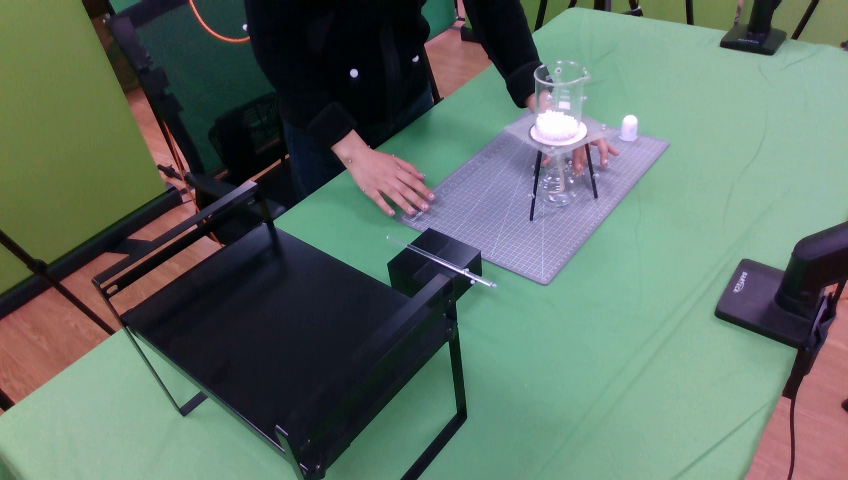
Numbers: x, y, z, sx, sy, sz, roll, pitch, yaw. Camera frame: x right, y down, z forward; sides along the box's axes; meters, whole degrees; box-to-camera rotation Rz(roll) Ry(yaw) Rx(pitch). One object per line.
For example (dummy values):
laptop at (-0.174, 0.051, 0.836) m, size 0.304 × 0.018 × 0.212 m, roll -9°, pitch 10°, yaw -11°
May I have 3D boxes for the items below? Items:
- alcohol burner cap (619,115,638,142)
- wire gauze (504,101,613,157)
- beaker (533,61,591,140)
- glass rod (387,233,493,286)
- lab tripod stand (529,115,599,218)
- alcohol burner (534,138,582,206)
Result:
alcohol burner cap at (0.389, -0.214, 1.145) m, size 0.034 × 0.048 × 0.033 m, roll -3°, pitch 40°, yaw 3°
wire gauze at (0.211, -0.175, 0.956) m, size 0.125 × 0.011 × 0.120 m, roll -26°, pitch 43°, yaw -17°
beaker at (0.208, -0.210, 0.922) m, size 0.083 × 0.101 × 0.074 m, roll 5°, pitch 44°, yaw 14°
glass rod at (0.018, 0.027, 0.878) m, size 0.198 × 0.008 × 0.008 m, roll 25°, pitch 50°, yaw 33°
lab tripod stand at (0.218, -0.123, 0.995) m, size 0.148 × 0.132 × 0.147 m, roll -4°, pitch 43°, yaw 4°
alcohol burner at (0.222, -0.116, 1.002) m, size 0.078 × 0.119 × 0.077 m, roll -5°, pitch 42°, yaw 5°
